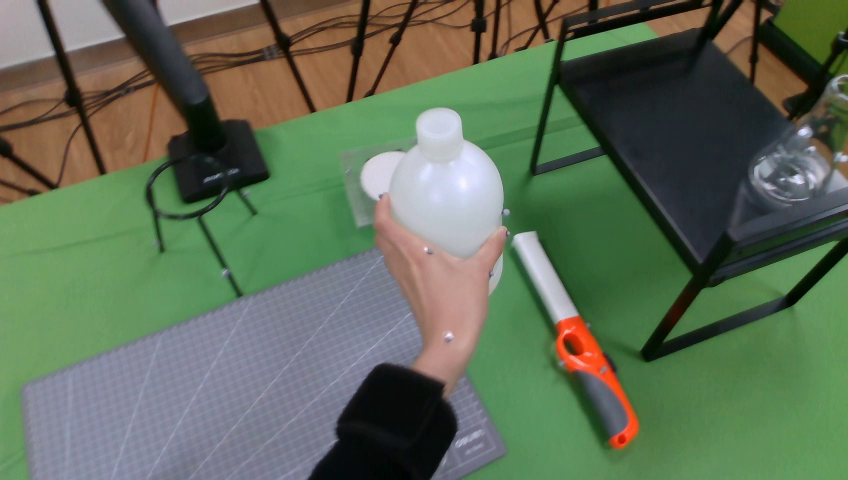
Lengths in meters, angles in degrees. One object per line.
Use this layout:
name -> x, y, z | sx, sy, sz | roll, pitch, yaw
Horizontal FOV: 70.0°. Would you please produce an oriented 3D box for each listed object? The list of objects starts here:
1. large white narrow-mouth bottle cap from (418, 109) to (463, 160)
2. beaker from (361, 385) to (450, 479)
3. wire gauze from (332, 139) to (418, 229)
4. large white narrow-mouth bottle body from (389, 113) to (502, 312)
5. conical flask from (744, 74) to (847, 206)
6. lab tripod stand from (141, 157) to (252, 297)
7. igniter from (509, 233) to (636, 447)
large white narrow-mouth bottle cap -> 0.012, -0.082, 0.473 | 0.038, 0.024, 0.037 | -3, 50, 4
beaker -> -0.017, 0.197, 0.588 | 0.084, 0.101, 0.073 | -20, 58, -13
wire gauze -> -0.047, -0.078, 0.774 | 0.121, 0.011, 0.123 | -15, 57, -10
large white narrow-mouth bottle body -> 0.020, -0.026, 0.538 | 0.102, 0.196, 0.101 | -3, 50, 4
conical flask -> 0.357, -0.094, 0.560 | 0.075, 0.123, 0.074 | 0, 56, 0
lab tripod stand -> -0.262, -0.019, 0.716 | 0.148, 0.132, 0.147 | 1, 56, -2
igniter -> 0.167, 0.104, 0.700 | 0.057, 0.025, 0.273 | -10, 55, -19
